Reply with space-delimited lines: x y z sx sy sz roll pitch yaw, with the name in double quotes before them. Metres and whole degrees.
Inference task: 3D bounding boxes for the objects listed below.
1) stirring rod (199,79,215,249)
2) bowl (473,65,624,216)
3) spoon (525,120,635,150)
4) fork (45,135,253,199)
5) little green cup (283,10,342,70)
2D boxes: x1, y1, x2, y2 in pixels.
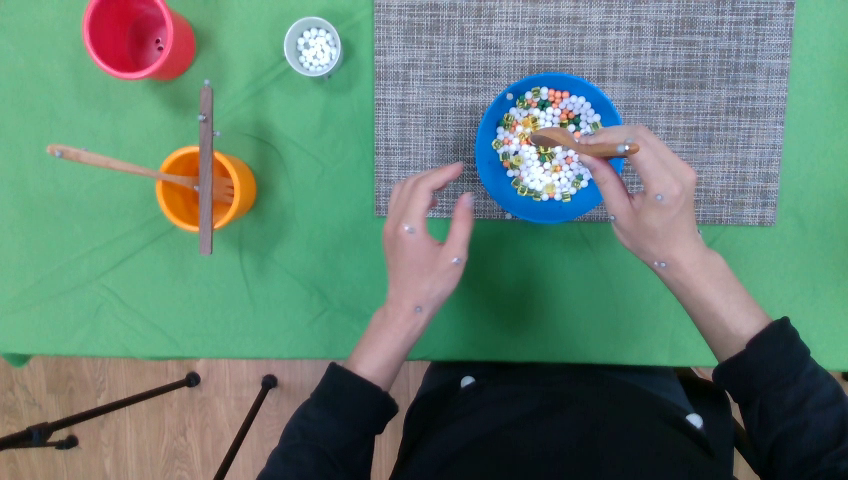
"stirring rod" -0.227 -0.078 0.633 0.014 0.006 0.176 3 99 3
"bowl" 0.127 -0.102 0.641 0.151 0.076 0.151 0 99 4
"spoon" 0.130 -0.086 0.511 0.042 0.192 0.022 10 104 -12
"fork" -0.280 -0.076 0.639 0.209 0.018 0.028 13 105 -42
"little green cup" -0.119 -0.216 0.663 0.061 0.038 0.061 1 99 4
